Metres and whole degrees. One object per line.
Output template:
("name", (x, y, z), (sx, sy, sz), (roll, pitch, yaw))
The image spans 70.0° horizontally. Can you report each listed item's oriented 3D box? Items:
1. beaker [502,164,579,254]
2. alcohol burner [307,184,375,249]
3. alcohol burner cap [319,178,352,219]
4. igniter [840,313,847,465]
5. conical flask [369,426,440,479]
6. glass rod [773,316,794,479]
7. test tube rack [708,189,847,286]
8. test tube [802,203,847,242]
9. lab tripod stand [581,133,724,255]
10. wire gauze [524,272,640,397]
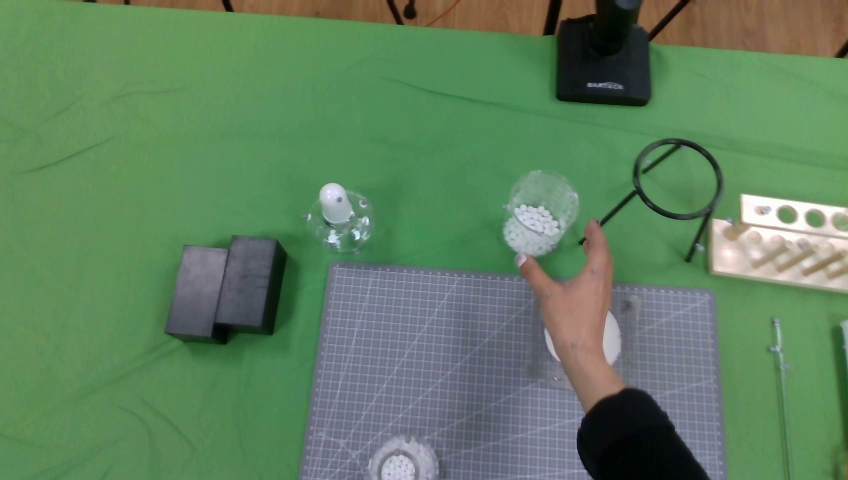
("beaker", (0.128, -0.028, 0.684), (0.074, 0.101, 0.083), (-13, 72, -3))
("alcohol burner", (-0.095, -0.033, 0.679), (0.078, 0.120, 0.077), (-1, 72, 2))
("alcohol burner cap", (-0.096, -0.047, 0.646), (0.034, 0.048, 0.033), (0, 65, -1))
("igniter", (0.473, 0.213, 0.641), (0.057, 0.025, 0.275), (9, 72, -7))
("conical flask", (-0.021, 0.218, 0.588), (0.075, 0.122, 0.075), (0, 71, 1))
("glass rod", (0.393, 0.180, 0.662), (0.008, 0.008, 0.198), (5, 71, 2))
("test tube rack", (0.458, 0.004, 0.679), (0.242, 0.086, 0.066), (8, 71, 3))
("test tube", (0.443, -0.027, 0.638), (0.017, 0.151, 0.017), (-1, 71, 3))
("lab tripod stand", (0.256, -0.046, 0.672), (0.148, 0.132, 0.147), (0, 73, 1))
("wire gauze", (0.180, 0.104, 0.685), (0.125, 0.011, 0.121), (13, 72, 2))
